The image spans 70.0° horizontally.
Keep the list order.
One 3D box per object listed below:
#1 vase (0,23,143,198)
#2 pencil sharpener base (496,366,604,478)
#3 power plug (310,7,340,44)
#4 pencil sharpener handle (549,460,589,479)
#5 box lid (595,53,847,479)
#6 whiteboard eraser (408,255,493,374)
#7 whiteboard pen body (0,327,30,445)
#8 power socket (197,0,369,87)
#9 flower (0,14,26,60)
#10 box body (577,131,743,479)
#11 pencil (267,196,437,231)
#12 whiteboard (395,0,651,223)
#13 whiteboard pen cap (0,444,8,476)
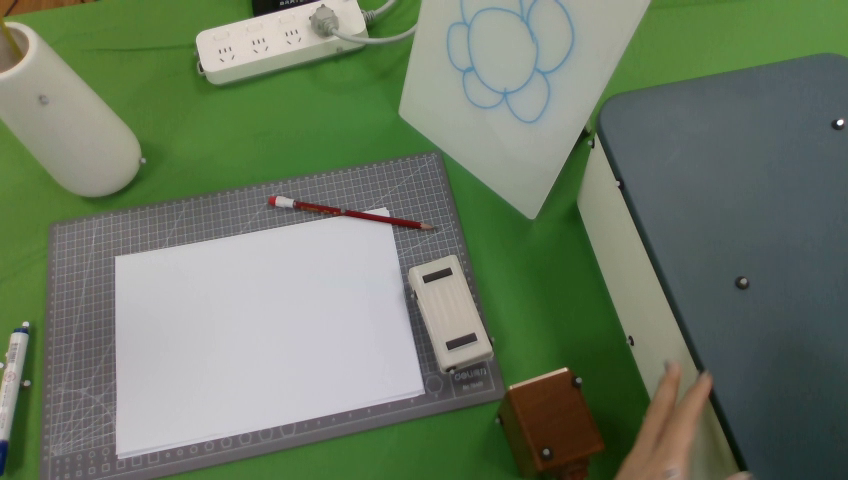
[{"bbox_3d":[-0.376,-0.126,0.625,0.098,0.201,0.097,-1,65,2],"label":"vase"},{"bbox_3d":[0.108,0.167,0.535,0.061,0.108,0.076,-17,66,-7],"label":"pencil sharpener base"},{"bbox_3d":[-0.121,-0.253,0.746,0.035,0.053,0.072,-8,67,-2],"label":"power plug"},{"bbox_3d":[0.126,0.204,0.504,0.036,0.068,0.030,-21,66,3],"label":"pencil sharpener handle"},{"bbox_3d":[0.316,0.005,0.493,0.263,0.015,0.368,-12,65,-5],"label":"box lid"},{"bbox_3d":[0.026,0.074,0.612,0.055,0.042,0.111,-17,66,-8],"label":"whiteboard eraser"},{"bbox_3d":[-0.407,0.152,0.594,0.017,0.017,0.139,-8,62,-2],"label":"whiteboard pen body"},{"bbox_3d":[-0.178,-0.253,0.772,0.227,0.033,0.071,-17,67,-7],"label":"power socket"},{"bbox_3d":[-0.375,-0.178,0.558,0.038,0.365,0.043,-23,49,-17],"label":"flower"},{"bbox_3d":[0.317,0.039,0.560,0.254,0.161,0.361,-12,66,-5],"label":"box body"},{"bbox_3d":[-0.081,-0.029,0.678,0.194,0.012,0.012,11,66,4],"label":"pencil"},{"bbox_3d":[0.119,-0.211,0.632,0.216,0.307,0.144,42,53,18],"label":"whiteboard"},{"bbox_3d":[-0.401,0.204,0.566,0.018,0.018,0.033,-7,60,-2],"label":"whiteboard pen cap"}]
